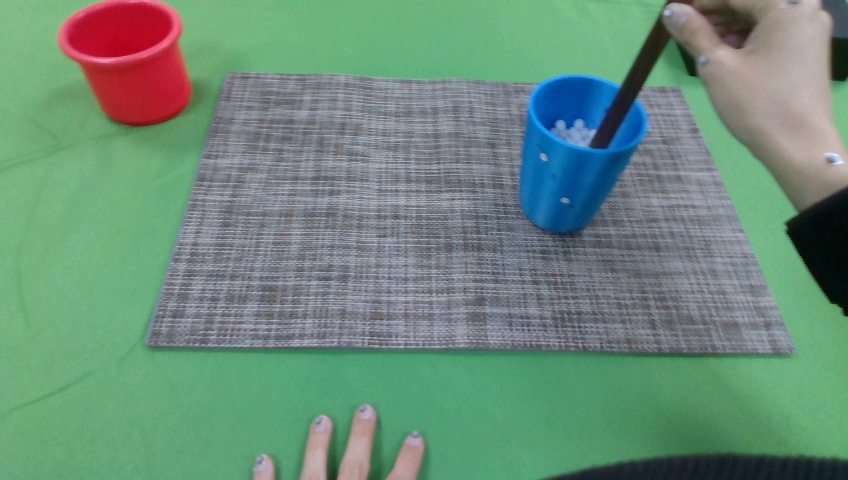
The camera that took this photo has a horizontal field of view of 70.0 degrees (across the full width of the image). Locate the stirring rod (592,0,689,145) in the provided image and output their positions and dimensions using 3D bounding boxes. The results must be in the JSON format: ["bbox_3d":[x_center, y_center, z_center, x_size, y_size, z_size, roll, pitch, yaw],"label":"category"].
[{"bbox_3d":[0.145,-0.124,0.390,0.014,0.177,0.006,28,50,8],"label":"stirring rod"}]

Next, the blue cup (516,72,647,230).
[{"bbox_3d":[0.110,-0.061,0.464,0.093,0.101,0.091,3,51,-3],"label":"blue cup"}]
